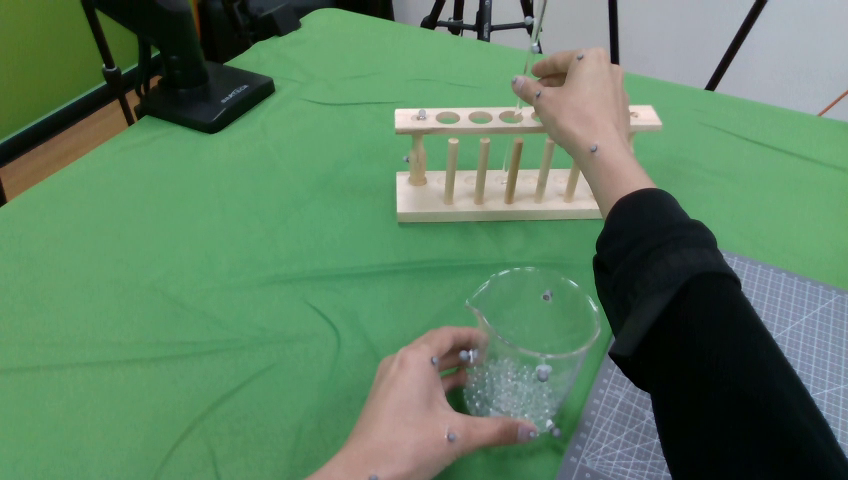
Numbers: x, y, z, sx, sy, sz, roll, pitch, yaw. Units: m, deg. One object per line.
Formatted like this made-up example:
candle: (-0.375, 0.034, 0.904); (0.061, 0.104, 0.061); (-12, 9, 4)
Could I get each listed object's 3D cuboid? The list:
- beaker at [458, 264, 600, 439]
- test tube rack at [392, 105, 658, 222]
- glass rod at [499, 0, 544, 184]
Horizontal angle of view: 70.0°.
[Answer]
beaker: (0.060, 0.076, 0.397); (0.084, 0.101, 0.073); (9, 41, 1)
test tube rack: (0.092, -0.073, 0.573); (0.242, 0.086, 0.066); (-1, 43, -3)
glass rod: (0.083, -0.124, 0.531); (0.008, 0.201, 0.008); (3, 47, -3)
